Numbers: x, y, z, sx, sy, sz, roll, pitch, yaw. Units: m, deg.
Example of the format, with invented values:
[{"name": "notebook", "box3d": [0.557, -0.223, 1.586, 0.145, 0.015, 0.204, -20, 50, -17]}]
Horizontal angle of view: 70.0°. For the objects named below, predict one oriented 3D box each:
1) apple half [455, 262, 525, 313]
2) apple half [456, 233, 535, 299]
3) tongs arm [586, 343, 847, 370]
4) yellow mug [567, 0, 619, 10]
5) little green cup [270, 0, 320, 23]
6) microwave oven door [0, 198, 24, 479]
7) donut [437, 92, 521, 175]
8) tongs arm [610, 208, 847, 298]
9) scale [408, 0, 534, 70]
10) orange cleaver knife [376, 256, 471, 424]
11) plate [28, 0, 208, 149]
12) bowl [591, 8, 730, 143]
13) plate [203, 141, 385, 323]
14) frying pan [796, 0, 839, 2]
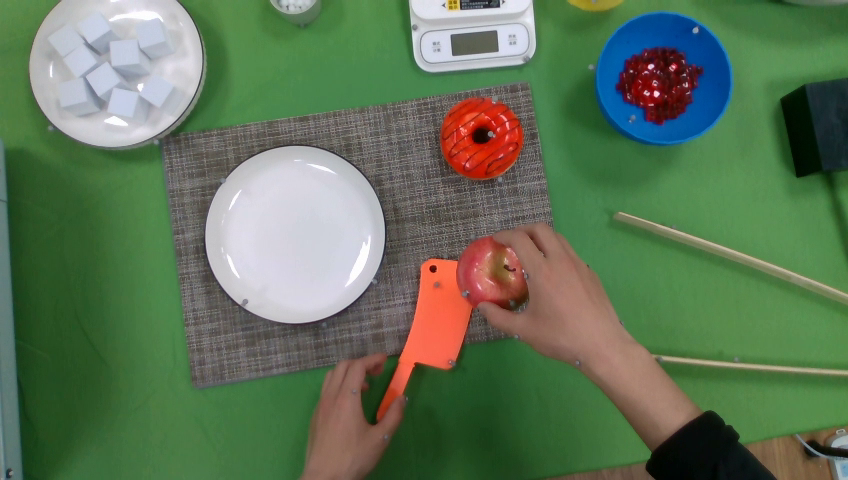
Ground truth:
[{"name": "apple half", "box3d": [0.060, 0.055, 0.611, 0.081, 0.081, 0.032, 28, 76, 3]}, {"name": "apple half", "box3d": [0.078, 0.022, 0.620, 0.081, 0.075, 0.053, 29, 75, 1]}, {"name": "tongs arm", "box3d": [0.382, 0.121, 0.695, 0.385, 0.026, 0.050, 6, 82, 1]}, {"name": "yellow mug", "box3d": [0.197, -0.348, 0.719, 0.100, 0.064, 0.130, -41, 86, -3]}, {"name": "little green cup", "box3d": [-0.155, -0.295, 0.731, 0.061, 0.039, 0.061, 0, 85, 1]}, {"name": "microwave oven door", "box3d": [-0.488, 0.118, 0.579, 0.039, 0.244, 0.355, -7, 85, 0]}, {"name": "donut", "box3d": [0.064, -0.124, 0.709, 0.099, 0.048, 0.099, 0, 86, 2]}, {"name": "tongs arm", "box3d": [0.400, 0.036, 0.703, 0.387, 0.028, 0.028, 21, 79, 2]}, {"name": "scale", "box3d": [0.053, -0.311, 0.734, 0.149, 0.031, 0.200, -5, 86, 0]}, {"name": "orange cleaver knife", "box3d": [0.004, 0.115, 0.702, 0.077, 0.012, 0.211, 20, 83, -5]}, {"name": "plate", "box3d": [-0.359, -0.208, 0.725, 0.208, 0.039, 0.207, 0, 85, 0]}, {"name": "bowl", "box3d": [0.260, -0.178, 0.700, 0.151, 0.077, 0.151, 0, 86, 1]}, {"name": "plate", "box3d": [-0.148, -0.009, 0.704, 0.209, 0.038, 0.208, 0, 86, 1]}, {"name": "frying pan", "box3d": [0.528, -0.334, 0.697, 0.307, 0.103, 0.485, -36, 78, -1]}]
